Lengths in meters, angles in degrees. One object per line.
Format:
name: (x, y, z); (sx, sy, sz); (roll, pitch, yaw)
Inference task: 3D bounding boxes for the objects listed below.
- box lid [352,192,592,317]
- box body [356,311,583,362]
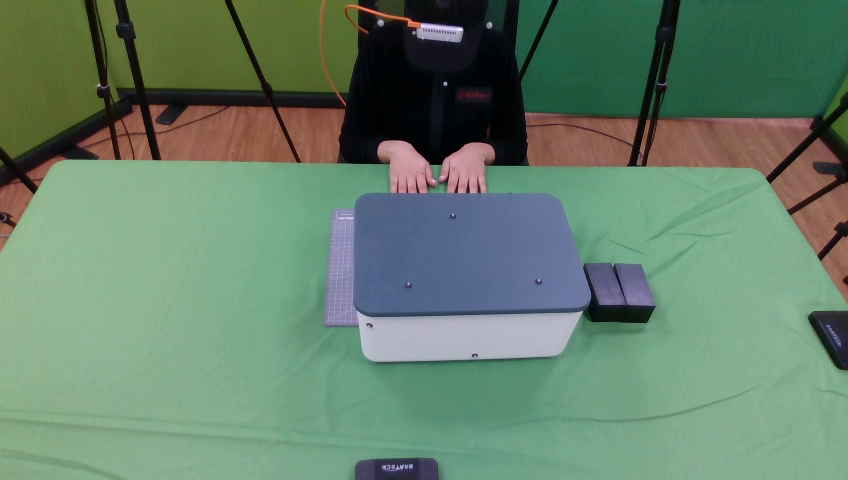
box lid: (0.071, 0.014, 0.986); (0.372, 0.015, 0.261); (-1, 47, -5)
box body: (0.065, 0.066, 1.040); (0.364, 0.161, 0.252); (-1, 46, -5)
